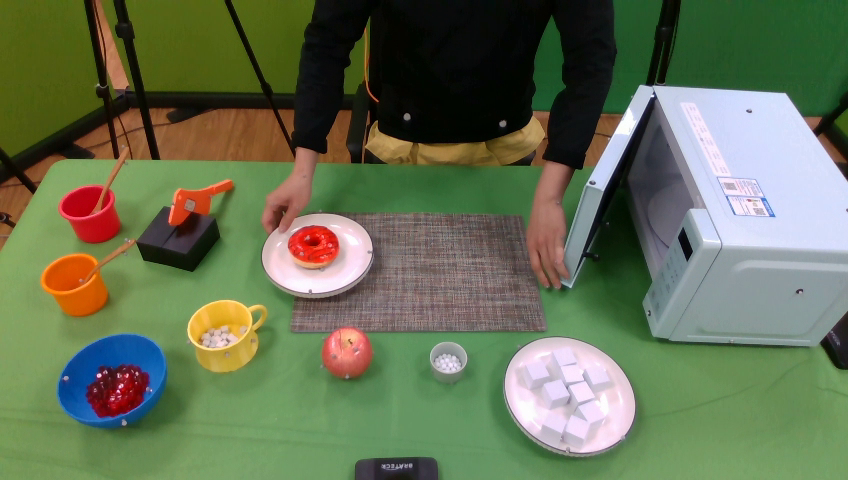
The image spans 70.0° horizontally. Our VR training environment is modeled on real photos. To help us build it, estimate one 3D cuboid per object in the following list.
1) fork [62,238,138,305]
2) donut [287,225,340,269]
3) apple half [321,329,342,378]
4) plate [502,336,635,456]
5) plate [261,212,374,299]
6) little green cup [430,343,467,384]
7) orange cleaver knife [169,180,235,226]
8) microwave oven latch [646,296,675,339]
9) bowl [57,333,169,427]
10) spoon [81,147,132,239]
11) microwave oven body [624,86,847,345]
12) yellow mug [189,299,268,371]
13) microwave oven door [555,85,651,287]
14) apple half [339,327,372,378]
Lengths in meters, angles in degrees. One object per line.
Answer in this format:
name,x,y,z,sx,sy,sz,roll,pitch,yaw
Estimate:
fork,-0.547,0.053,1.018,0.207,0.019,0.028,-36,41,23
donut,-0.207,0.013,1.139,0.099,0.048,0.098,3,45,-3
apple half,-0.149,0.186,0.972,0.033,0.081,0.080,-2,46,-13
plate,0.225,0.248,0.963,0.208,0.039,0.206,2,46,-2
plate,-0.198,0.032,1.137,0.209,0.038,0.208,2,46,-2
little green cup,0.039,0.203,0.994,0.061,0.039,0.061,2,46,-2
orange cleaver knife,-0.436,-0.076,1.199,0.012,0.077,0.211,17,17,9
microwave oven latch,0.412,0.134,1.061,0.030,0.029,0.078,4,45,1
bowl,-0.456,0.223,0.912,0.151,0.077,0.150,3,45,-2
spoon,-0.603,-0.089,1.156,0.041,0.022,0.193,27,94,18
microwave oven body,0.568,-0.053,1.119,0.326,0.261,0.439,2,45,-1
yellow mug,-0.316,0.148,1.002,0.131,0.064,0.099,-33,56,-31
microwave oven door,0.346,-0.110,1.152,0.039,0.245,0.355,23,49,17
apple half,-0.111,0.183,0.980,0.053,0.075,0.080,-2,42,-12
